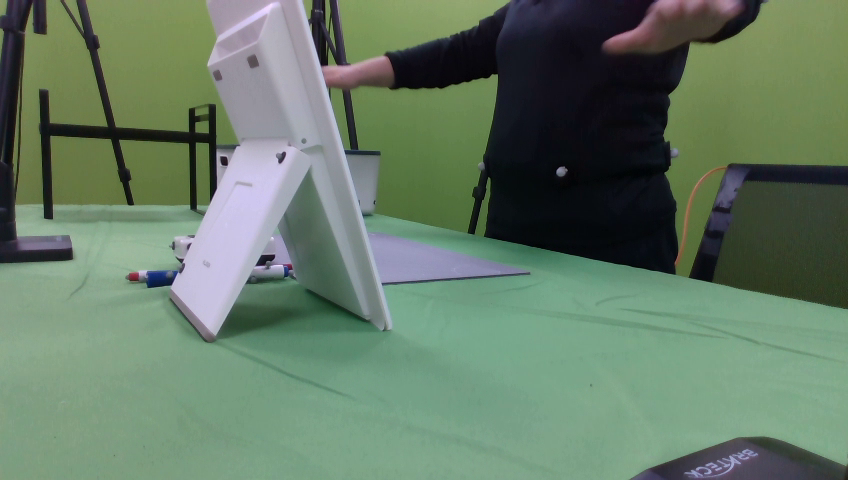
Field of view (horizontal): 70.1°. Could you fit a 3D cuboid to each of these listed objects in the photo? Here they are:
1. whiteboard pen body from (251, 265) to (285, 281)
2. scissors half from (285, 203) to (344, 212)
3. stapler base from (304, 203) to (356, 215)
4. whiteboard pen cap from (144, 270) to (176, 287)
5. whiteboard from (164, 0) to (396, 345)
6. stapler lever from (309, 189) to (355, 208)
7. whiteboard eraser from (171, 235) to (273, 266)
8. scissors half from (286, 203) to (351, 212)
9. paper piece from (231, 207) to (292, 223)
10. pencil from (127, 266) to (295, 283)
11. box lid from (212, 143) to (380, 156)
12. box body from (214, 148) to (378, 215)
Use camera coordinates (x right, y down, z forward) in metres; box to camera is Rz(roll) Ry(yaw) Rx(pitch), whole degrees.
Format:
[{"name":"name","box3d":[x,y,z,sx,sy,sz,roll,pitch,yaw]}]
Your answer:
[{"name":"whiteboard pen body","box3d":[-0.220,0.039,0.656,0.141,0.017,0.017,-2,9,-31]},{"name":"scissors half","box3d":[-0.280,-0.082,1.552,0.040,0.013,0.176,1,9,45]},{"name":"stapler base","box3d":[-0.234,-0.081,1.511,0.131,0.024,0.041,5,16,-35]},{"name":"whiteboard pen cap","box3d":[-0.271,0.039,0.627,0.033,0.018,0.018,-3,10,-33]},{"name":"whiteboard","box3d":[-0.173,-0.053,0.511,0.144,0.305,0.216,-23,19,-26]},{"name":"stapler lever","box3d":[-0.228,-0.103,1.507,0.119,0.040,0.026,3,17,-35]},{"name":"whiteboard eraser","box3d":[-0.248,0.014,0.747,0.113,0.042,0.055,-1,10,-32]},{"name":"scissors half","box3d":[-0.268,-0.079,1.535,0.176,0.013,0.040,-7,12,-23]},{"name":"paper piece","box3d":[-0.395,-0.062,1.461,0.139,0.008,0.135,14,-4,-21]},{"name":"pencil","box3d":[-0.231,0.037,0.691,0.195,0.012,0.012,-2,9,-34]},{"name":"box lid","box3d":[-0.326,-0.227,1.533,0.373,0.015,0.262,-2,8,-32]},{"name":"box body","box3d":[-0.328,-0.154,1.543,0.366,0.160,0.253,-2,9,-32]}]
